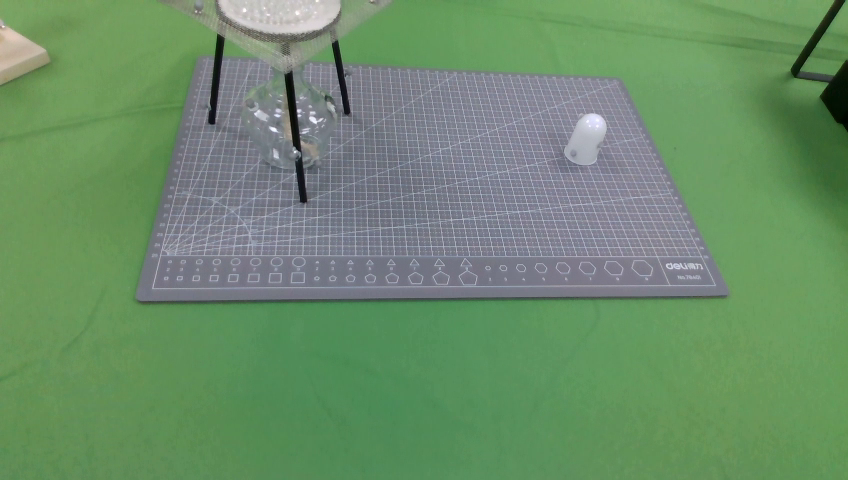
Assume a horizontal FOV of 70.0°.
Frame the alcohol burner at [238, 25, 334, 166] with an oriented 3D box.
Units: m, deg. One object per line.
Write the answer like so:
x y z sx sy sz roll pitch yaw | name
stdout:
-0.112 -0.119 0.490 0.078 0.120 0.077 6 48 -6 | alcohol burner

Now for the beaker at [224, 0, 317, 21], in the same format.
-0.106 -0.205 0.399 0.073 0.101 0.084 32 53 16 | beaker

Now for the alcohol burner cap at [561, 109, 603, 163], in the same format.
0.149 -0.099 0.566 0.034 0.048 0.033 4 49 -4 | alcohol burner cap

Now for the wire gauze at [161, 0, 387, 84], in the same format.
-0.108 -0.172 0.437 0.124 0.011 0.121 33 55 13 | wire gauze

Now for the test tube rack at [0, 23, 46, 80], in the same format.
-0.443 -0.142 0.476 0.066 0.086 0.241 30 52 16 | test tube rack

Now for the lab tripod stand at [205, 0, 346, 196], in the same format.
-0.114 -0.131 0.486 0.149 0.132 0.147 6 50 -7 | lab tripod stand
